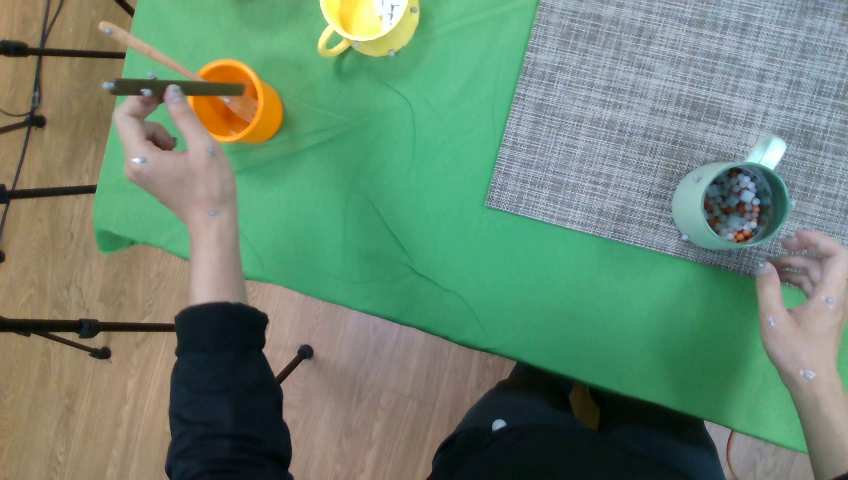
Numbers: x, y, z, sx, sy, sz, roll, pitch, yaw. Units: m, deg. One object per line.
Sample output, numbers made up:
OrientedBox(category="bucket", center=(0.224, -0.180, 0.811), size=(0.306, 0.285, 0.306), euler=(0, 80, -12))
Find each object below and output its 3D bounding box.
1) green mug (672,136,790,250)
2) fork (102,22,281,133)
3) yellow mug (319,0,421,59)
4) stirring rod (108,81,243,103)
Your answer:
OrientedBox(category="green mug", center=(0.315, -0.049, 0.609), size=(0.092, 0.105, 0.125), euler=(33, 97, 8))
OrientedBox(category="fork", center=(-0.254, -0.179, 0.679), size=(0.209, 0.018, 0.028), euler=(29, 97, -36))
OrientedBox(category="yellow mug", center=(-0.070, -0.254, 0.687), size=(0.131, 0.064, 0.100), euler=(-43, 86, 10))
OrientedBox(category="stirring rod", center=(-0.222, -0.136, 0.562), size=(0.006, 0.176, 0.014), euler=(17, 106, 15))
